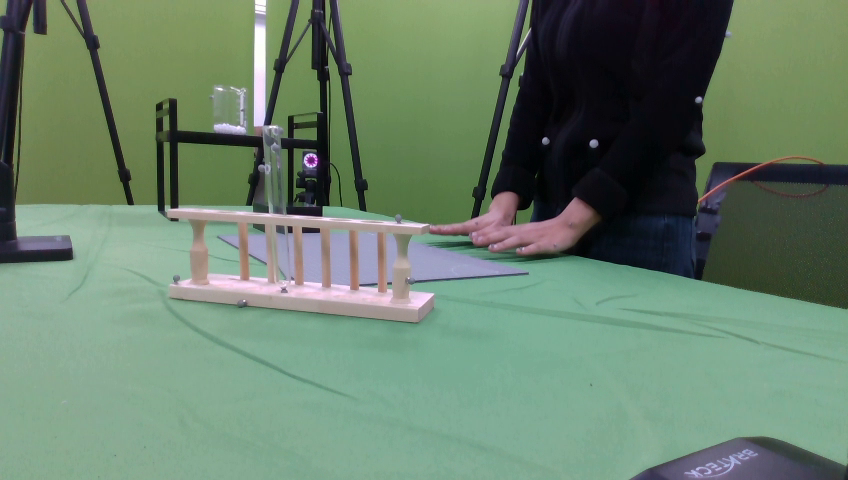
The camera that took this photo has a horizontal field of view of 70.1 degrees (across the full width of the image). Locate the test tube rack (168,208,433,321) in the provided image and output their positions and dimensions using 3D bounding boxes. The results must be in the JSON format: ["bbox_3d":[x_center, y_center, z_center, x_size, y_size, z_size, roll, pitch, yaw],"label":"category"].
[{"bbox_3d":[-0.115,0.017,0.574,0.242,0.085,0.067,4,8,13],"label":"test tube rack"}]

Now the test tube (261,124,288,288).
[{"bbox_3d":[-0.137,-0.030,0.555,0.017,0.150,0.017,-2,9,1],"label":"test tube"}]

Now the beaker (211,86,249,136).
[{"bbox_3d":[-0.413,-0.274,1.297,0.074,0.100,0.083,-5,11,-44],"label":"beaker"}]
